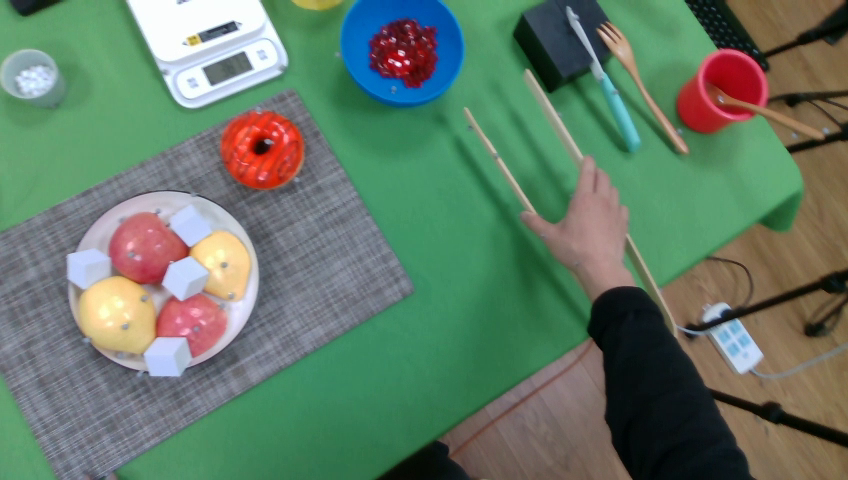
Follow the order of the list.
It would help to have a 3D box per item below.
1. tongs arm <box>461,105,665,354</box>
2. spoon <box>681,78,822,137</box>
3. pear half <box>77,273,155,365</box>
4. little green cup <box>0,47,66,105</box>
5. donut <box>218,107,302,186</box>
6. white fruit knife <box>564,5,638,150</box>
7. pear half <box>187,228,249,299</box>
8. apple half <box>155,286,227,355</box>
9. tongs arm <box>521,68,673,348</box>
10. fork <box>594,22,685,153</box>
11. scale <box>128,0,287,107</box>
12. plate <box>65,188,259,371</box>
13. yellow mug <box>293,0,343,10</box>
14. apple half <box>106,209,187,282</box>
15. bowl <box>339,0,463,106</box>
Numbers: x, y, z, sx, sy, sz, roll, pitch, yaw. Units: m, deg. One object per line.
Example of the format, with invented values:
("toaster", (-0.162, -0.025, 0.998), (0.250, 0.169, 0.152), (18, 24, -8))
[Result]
("tongs arm", (0.170, -0.016, 0.752), (0.051, 0.026, 0.384), (-32, 87, -7))
("spoon", (0.416, -0.171, 0.780), (0.041, 0.022, 0.191), (-36, 43, -12))
("pear half", (-0.328, 0.090, 0.663), (0.076, 0.056, 0.110), (-37, 91, -20))
("little green cup", (-0.461, -0.192, 0.718), (0.062, 0.038, 0.061), (1, 80, -7))
("donut", (-0.198, -0.113, 0.734), (0.099, 0.048, 0.098), (1, 82, -5))
("white fruit knife", (0.231, -0.211, 0.795), (0.016, 0.027, 0.208), (-33, 101, -12))
("pear half", (-0.241, 0.027, 0.701), (0.070, 0.031, 0.087), (-28, 83, 2))
("apple half", (-0.269, 0.090, 0.684), (0.081, 0.033, 0.081), (2, 74, -5))
("tongs arm", (0.214, -0.044, 0.757), (0.028, 0.028, 0.387), (-27, 87, -10))
("fork", (0.292, -0.202, 0.810), (0.028, 0.018, 0.208), (-40, 103, -14))
("scale", (-0.277, -0.279, 0.761), (0.149, 0.031, 0.200), (-26, 85, -11))
("plate", (-0.294, 0.044, 0.697), (0.209, 0.038, 0.208), (1, 80, -8))
("yellow mug", (-0.155, -0.365, 0.775), (0.131, 0.064, 0.099), (27, 78, -2))
("apple half", (-0.318, 0.005, 0.683), (0.074, 0.053, 0.081), (-43, 91, -10))
("bowl", (-0.031, -0.231, 0.764), (0.152, 0.077, 0.151), (1, 81, -8))
